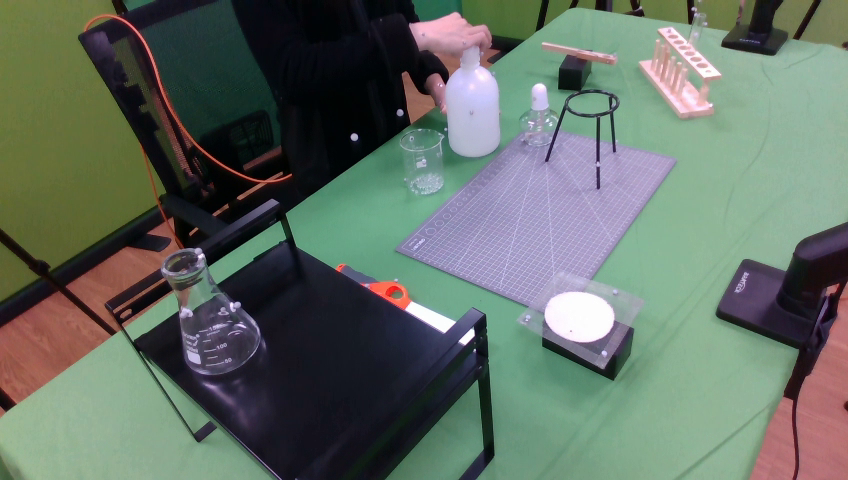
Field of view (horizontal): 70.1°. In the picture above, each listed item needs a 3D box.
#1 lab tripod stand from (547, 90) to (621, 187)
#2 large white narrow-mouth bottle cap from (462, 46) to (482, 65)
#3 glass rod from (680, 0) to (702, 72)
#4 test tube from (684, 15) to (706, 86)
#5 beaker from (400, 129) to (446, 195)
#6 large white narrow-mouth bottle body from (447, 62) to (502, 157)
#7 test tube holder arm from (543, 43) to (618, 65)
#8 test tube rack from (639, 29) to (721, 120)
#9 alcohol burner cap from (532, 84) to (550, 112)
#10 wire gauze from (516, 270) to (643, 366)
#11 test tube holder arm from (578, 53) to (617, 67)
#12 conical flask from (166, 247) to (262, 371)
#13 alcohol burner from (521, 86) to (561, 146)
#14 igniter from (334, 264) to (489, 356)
[{"bbox_3d":[0.289,-0.184,1.062,0.148,0.132,0.147,-6,41,6],"label":"lab tripod stand"},{"bbox_3d":[0.085,-0.330,1.083,0.038,0.024,0.037,-4,40,4],"label":"large white narrow-mouth bottle cap"},{"bbox_3d":[0.543,-0.417,1.233,0.008,0.200,0.008,1,40,0],"label":"glass rod"},{"bbox_3d":[0.540,-0.378,1.215,0.017,0.151,0.017,-2,44,3],"label":"test tube"},{"bbox_3d":[0.004,-0.140,1.087,0.084,0.101,0.073,-20,42,-14],"label":"beaker"},{"bbox_3d":[0.094,-0.261,1.142,0.102,0.195,0.101,-4,40,4],"label":"large white narrow-mouth bottle body"},{"bbox_3d":[0.344,-0.413,1.340,0.177,0.015,0.013,25,51,31],"label":"test tube holder arm"},{"bbox_3d":[0.527,-0.351,1.262,0.067,0.085,0.241,-8,40,1],"label":"test tube rack"},{"bbox_3d":[0.218,-0.269,1.133,0.034,0.048,0.033,-9,36,7],"label":"alcohol burner cap"},{"bbox_3d":[0.200,0.093,0.777,0.124,0.011,0.122,23,49,32],"label":"wire gauze"},{"bbox_3d":[0.376,-0.393,1.314,0.087,0.015,0.010,26,51,32],"label":"test tube holder arm"},{"bbox_3d":[-0.208,0.064,0.584,0.075,0.122,0.075,-5,40,4],"label":"conical flask"},{"bbox_3d":[0.223,-0.241,1.155,0.078,0.119,0.077,-5,43,5],"label":"alcohol burner"},{"bbox_3d":[-0.029,0.095,0.871,0.274,0.025,0.057,22,59,31],"label":"igniter"}]
